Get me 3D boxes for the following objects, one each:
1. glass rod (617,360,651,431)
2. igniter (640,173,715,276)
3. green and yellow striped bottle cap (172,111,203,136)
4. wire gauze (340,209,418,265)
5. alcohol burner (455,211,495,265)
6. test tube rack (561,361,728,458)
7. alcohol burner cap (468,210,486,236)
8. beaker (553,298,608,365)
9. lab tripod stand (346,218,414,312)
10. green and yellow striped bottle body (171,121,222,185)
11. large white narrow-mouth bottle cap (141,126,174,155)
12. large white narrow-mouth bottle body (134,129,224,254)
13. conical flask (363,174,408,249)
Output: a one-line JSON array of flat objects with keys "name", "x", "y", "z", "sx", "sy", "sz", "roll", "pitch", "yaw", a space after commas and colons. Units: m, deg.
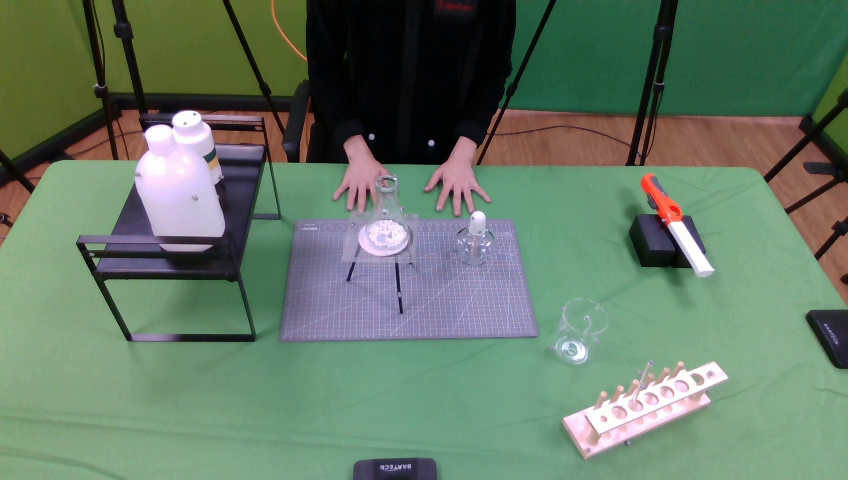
[{"name": "glass rod", "x": 0.297, "y": 0.227, "z": 0.865, "sx": 0.008, "sy": 0.201, "sz": 0.008, "roll": -1, "pitch": 47, "yaw": 2}, {"name": "igniter", "x": 0.495, "y": -0.039, "z": 1.204, "sx": 0.057, "sy": 0.025, "sz": 0.274, "roll": -2, "pitch": 47, "yaw": -12}, {"name": "green and yellow striped bottle cap", "x": -0.374, "y": -0.185, "z": 0.958, "sx": 0.045, "sy": 0.020, "sz": 0.045, "roll": 3, "pitch": 46, "yaw": -3}, {"name": "wire gauze", "x": -0.074, "y": -0.006, "z": 1.024, "sx": 0.121, "sy": 0.011, "sz": 0.124, "roll": 2, "pitch": 48, "yaw": 1}, {"name": "alcohol burner", "x": 0.097, "y": -0.010, "z": 1.147, "sx": 0.078, "sy": 0.120, "sz": 0.077, "roll": 1, "pitch": 47, "yaw": 0}, {"name": "test tube rack", "x": 0.341, "y": 0.248, "z": 0.940, "sx": 0.243, "sy": 0.085, "sz": 0.066, "roll": -15, "pitch": 49, "yaw": -18}, {"name": "alcohol burner cap", "x": 0.099, "y": -0.034, "z": 1.119, "sx": 0.034, "sy": 0.048, "sz": 0.033, "roll": 0, "pitch": 52, "yaw": 0}, {"name": "beaker", "x": 0.260, "y": 0.154, "z": 1.015, "sx": 0.073, "sy": 0.101, "sz": 0.084, "roll": 37, "pitch": 54, "yaw": 27}, {"name": "lab tripod stand", "x": -0.070, "y": 0.037, "z": 1.075, "sx": 0.148, "sy": 0.132, "sz": 0.147, "roll": 1, "pitch": 47, "yaw": -1}, {"name": "green and yellow striped bottle body", "x": -0.375, "y": -0.149, "z": 0.995, "sx": 0.063, "sy": 0.120, "sz": 0.063, "roll": 2, "pitch": 46, "yaw": -2}, {"name": "large white narrow-mouth bottle cap", "x": -0.356, "y": -0.133, "z": 0.811, "sx": 0.038, "sy": 0.024, "sz": 0.037, "roll": 2, "pitch": 48, "yaw": -1}, {"name": "large white narrow-mouth bottle body", "x": -0.358, "y": -0.075, "z": 0.875, "sx": 0.102, "sy": 0.195, "sz": 0.101, "roll": 1, "pitch": 48, "yaw": -1}, {"name": "conical flask", "x": -0.063, "y": -0.049, "z": 0.985, "sx": 0.075, "sy": 0.122, "sz": 0.075, "roll": 2, "pitch": 46, "yaw": -2}]
